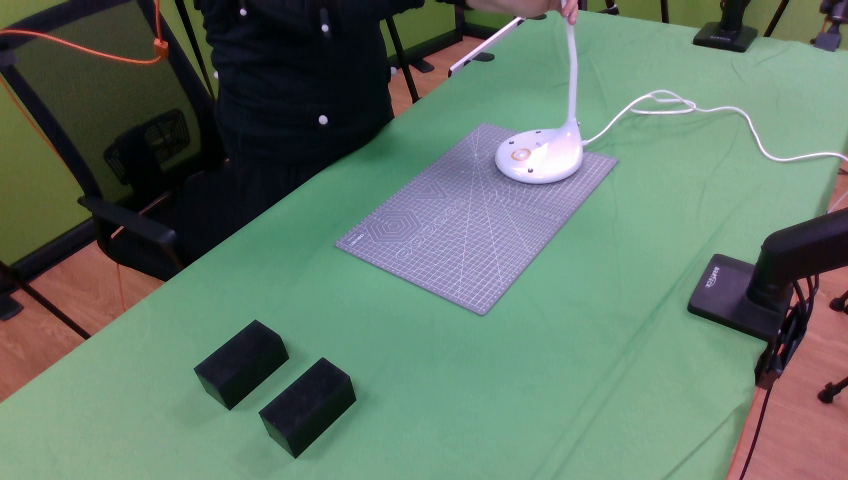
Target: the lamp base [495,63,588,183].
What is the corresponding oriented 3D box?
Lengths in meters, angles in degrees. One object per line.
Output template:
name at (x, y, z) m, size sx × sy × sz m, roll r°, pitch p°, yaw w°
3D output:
lamp base at (0.215, -0.217, 1.067) m, size 0.180 × 0.181 × 0.159 m, roll -20°, pitch 42°, yaw -18°
